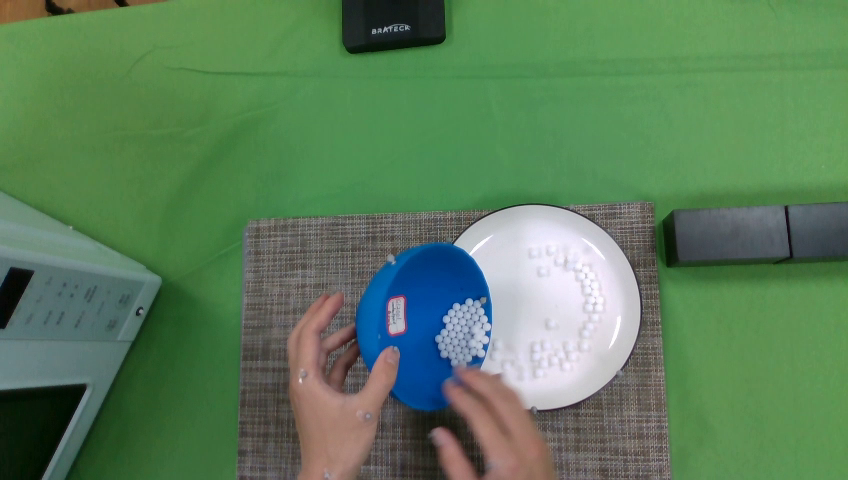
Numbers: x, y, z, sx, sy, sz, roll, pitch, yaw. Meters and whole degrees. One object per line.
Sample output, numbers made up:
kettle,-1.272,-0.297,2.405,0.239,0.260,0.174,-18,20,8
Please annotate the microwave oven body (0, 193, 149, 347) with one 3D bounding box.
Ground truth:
microwave oven body,-0.545,0.156,0.596,0.325,0.261,0.441,24,86,12

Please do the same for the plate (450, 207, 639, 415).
plate,0.108,0.071,0.618,0.207,0.039,0.207,-2,80,9

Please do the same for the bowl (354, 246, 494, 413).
bowl,-0.012,0.079,0.567,0.076,0.153,0.151,1,79,46

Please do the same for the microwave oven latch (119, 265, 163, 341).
microwave oven latch,-0.322,0.071,0.673,0.030,0.029,0.079,26,86,12

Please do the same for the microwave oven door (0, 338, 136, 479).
microwave oven door,-0.433,0.250,0.557,0.039,0.245,0.355,24,85,13
